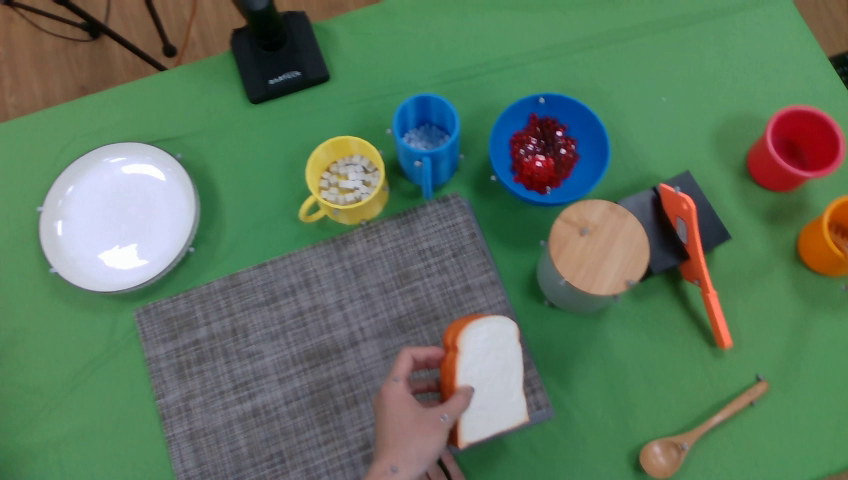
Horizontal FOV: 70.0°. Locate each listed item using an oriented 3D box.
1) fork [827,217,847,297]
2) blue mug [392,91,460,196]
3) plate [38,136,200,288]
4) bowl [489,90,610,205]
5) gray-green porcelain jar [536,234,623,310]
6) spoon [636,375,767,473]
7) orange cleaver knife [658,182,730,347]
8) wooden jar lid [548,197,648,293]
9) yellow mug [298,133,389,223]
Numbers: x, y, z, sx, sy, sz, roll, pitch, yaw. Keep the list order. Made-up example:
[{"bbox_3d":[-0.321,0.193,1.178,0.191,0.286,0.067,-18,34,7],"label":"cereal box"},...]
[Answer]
[{"bbox_3d":[0.491,0.019,0.705,0.028,0.019,0.207,42,35,6],"label":"fork"},{"bbox_3d":[0.004,-0.114,0.778,0.082,0.106,0.116,0,74,2],"label":"blue mug"},{"bbox_3d":[-0.395,-0.035,0.799,0.208,0.039,0.206,0,74,1],"label":"plate"},{"bbox_3d":[0.157,-0.108,0.787,0.151,0.077,0.150,0,74,2],"label":"bowl"},{"bbox_3d":[0.191,0.025,0.723,0.106,0.127,0.105,0,73,1],"label":"gray-green porcelain jar"},{"bbox_3d":[0.334,0.214,0.719,0.194,0.022,0.041,-30,57,-7],"label":"spoon"},{"bbox_3d":[0.328,0.029,0.741,0.012,0.077,0.212,-22,101,-4],"label":"orange cleaver knife"},{"bbox_3d":[0.189,0.006,0.663,0.108,0.021,0.108,0,76,-1],"label":"wooden jar lid"},{"bbox_3d":[-0.111,-0.070,0.788,0.131,0.064,0.099,-41,76,-9],"label":"yellow mug"}]
